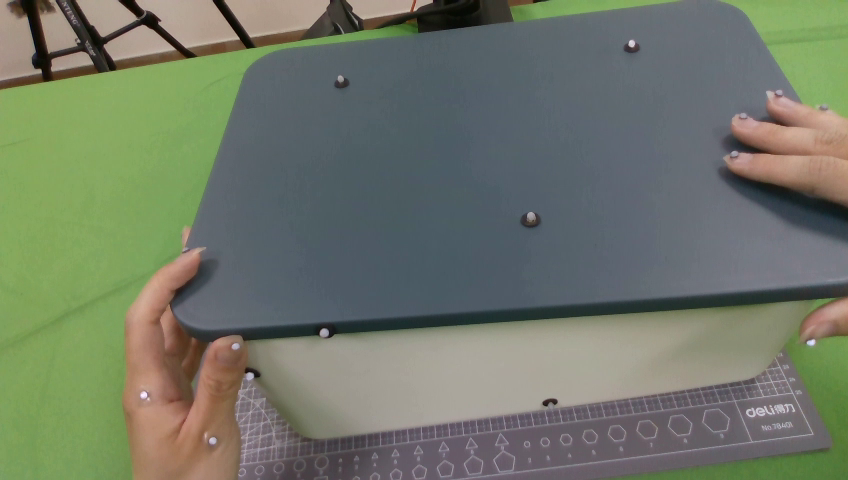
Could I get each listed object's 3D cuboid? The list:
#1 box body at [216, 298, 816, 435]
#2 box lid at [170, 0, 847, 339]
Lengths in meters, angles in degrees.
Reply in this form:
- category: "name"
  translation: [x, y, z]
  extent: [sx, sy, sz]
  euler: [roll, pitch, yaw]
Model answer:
- category: "box body"
  translation: [0.056, -0.015, 0.449]
  extent: [0.364, 0.162, 0.251]
  euler: [-9, 48, 3]
- category: "box lid"
  translation: [0.042, -0.061, 0.381]
  extent: [0.371, 0.015, 0.260]
  euler: [-5, 49, 6]
